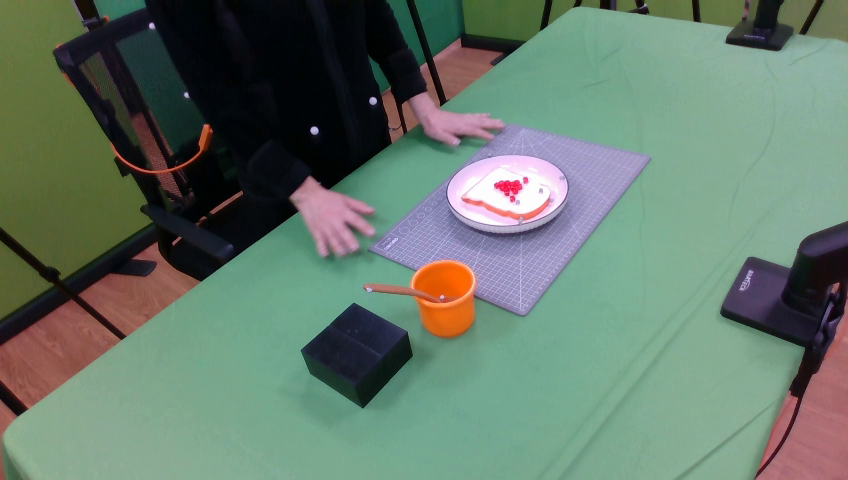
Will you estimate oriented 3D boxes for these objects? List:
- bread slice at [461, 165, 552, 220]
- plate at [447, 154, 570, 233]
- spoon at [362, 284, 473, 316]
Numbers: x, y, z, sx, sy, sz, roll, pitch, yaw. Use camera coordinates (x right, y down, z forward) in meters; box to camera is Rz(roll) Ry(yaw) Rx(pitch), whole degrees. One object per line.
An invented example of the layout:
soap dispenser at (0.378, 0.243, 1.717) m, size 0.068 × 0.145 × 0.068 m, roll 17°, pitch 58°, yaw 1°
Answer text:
bread slice at (0.149, -0.079, 1.036) m, size 0.133 × 0.018 × 0.107 m, roll 22°, pitch 50°, yaw 31°
plate at (0.143, -0.076, 1.032) m, size 0.209 × 0.038 × 0.208 m, roll -5°, pitch 40°, yaw 5°
spoon at (-0.005, 0.075, 0.800) m, size 0.021 × 0.195 × 0.041 m, roll -55°, pitch 45°, yaw 15°
